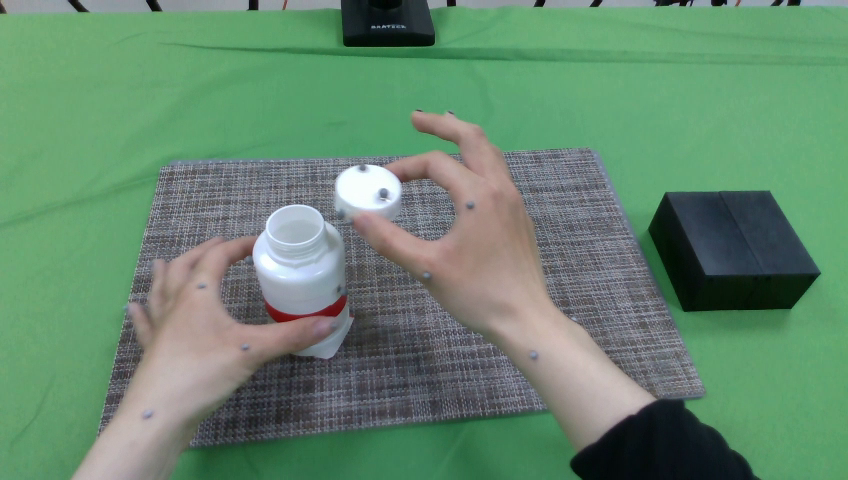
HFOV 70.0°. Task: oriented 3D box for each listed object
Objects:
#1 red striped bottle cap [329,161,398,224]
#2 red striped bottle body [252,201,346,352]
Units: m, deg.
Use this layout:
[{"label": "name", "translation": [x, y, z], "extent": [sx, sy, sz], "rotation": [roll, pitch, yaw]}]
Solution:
[{"label": "red striped bottle cap", "translation": [-0.039, -0.032, 0.399], "extent": [0.045, 0.018, 0.044], "rotation": [10, 46, -10]}, {"label": "red striped bottle body", "translation": [-0.091, 0.026, 0.448], "extent": [0.063, 0.120, 0.062], "rotation": [3, 48, -3]}]
